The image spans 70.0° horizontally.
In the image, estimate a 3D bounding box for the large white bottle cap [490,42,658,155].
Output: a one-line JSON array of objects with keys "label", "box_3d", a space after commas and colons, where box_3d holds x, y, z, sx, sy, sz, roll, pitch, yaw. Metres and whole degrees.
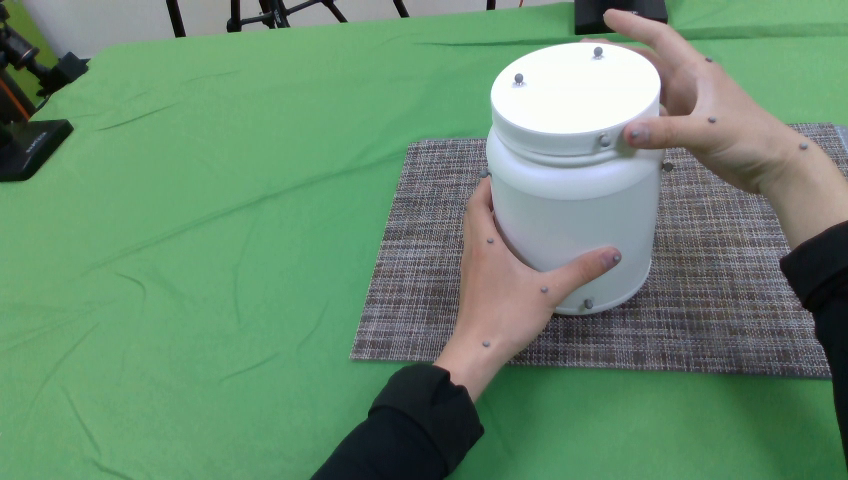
[{"label": "large white bottle cap", "box_3d": [0.103, -0.102, 0.424, 0.115, 0.018, 0.113, -7, 46, 8]}]

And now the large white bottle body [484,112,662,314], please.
[{"label": "large white bottle body", "box_3d": [0.118, -0.043, 0.486, 0.130, 0.186, 0.129, -7, 45, 7]}]
